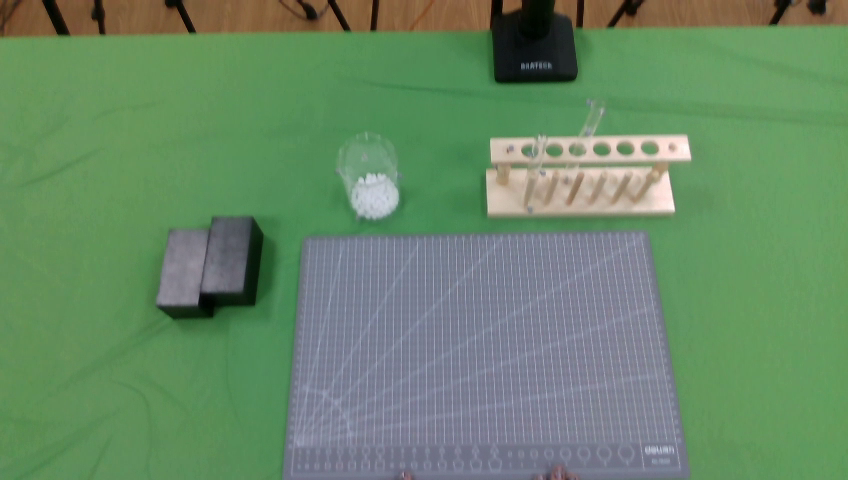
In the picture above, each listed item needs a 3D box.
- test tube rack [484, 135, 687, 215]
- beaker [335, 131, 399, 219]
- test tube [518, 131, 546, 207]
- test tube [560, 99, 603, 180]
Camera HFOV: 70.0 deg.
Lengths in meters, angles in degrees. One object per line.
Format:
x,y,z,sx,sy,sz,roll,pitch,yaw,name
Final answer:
0.202,-0.081,0.778,0.242,0.086,0.066,-1,66,1,test tube rack
-0.070,-0.080,0.774,0.074,0.101,0.083,-5,65,-1,beaker
0.130,-0.082,0.730,0.017,0.151,0.017,-1,63,1,test tube
0.190,-0.118,0.740,0.017,0.151,0.017,1,63,-1,test tube
